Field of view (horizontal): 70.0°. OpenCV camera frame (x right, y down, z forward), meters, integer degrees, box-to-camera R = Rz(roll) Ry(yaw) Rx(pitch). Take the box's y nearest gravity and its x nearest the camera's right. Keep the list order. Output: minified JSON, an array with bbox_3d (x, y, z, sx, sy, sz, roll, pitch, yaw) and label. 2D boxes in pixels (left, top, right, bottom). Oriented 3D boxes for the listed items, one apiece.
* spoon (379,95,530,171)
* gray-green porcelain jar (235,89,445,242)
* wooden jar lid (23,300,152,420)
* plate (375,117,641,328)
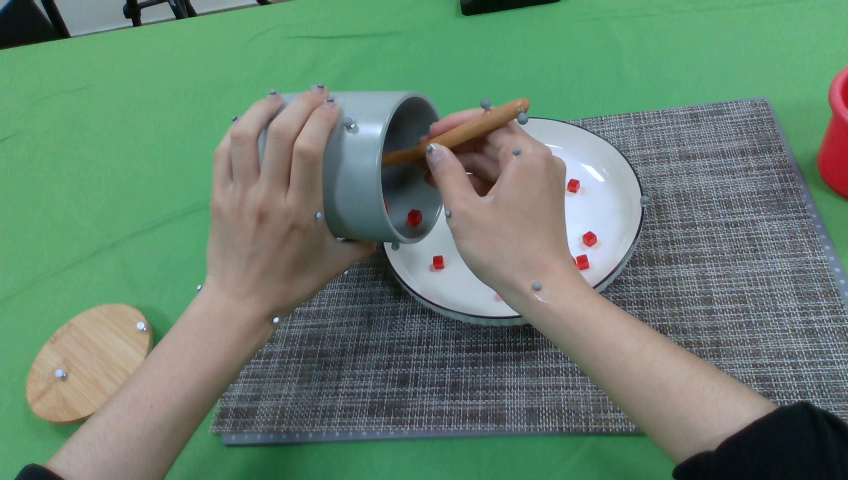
[{"bbox_3d":[-0.008,-0.061,0.408,0.193,0.022,0.041,-12,50,40],"label":"spoon"},{"bbox_3d":[-0.062,-0.056,0.442,0.126,0.107,0.105,7,55,25],"label":"gray-green porcelain jar"},{"bbox_3d":[-0.276,0.100,0.505,0.108,0.021,0.107,-6,52,8],"label":"wooden jar lid"},{"bbox_3d":[0.065,-0.016,0.490,0.207,0.039,0.205,-7,51,9],"label":"plate"}]
